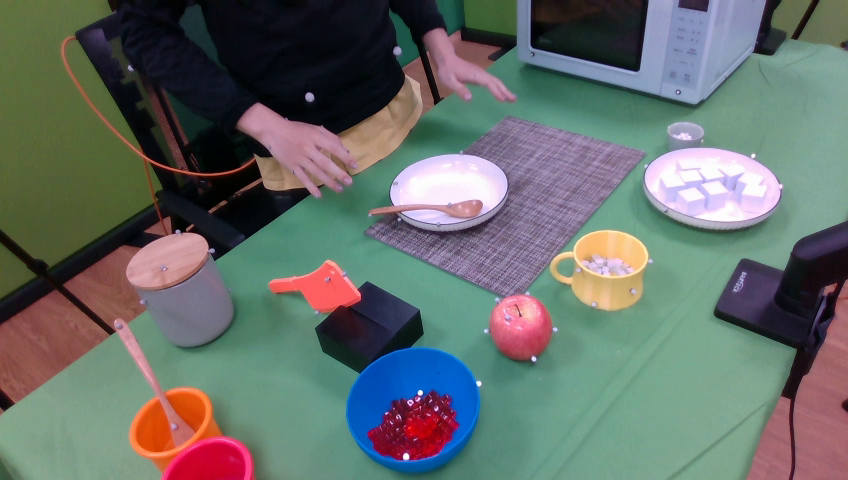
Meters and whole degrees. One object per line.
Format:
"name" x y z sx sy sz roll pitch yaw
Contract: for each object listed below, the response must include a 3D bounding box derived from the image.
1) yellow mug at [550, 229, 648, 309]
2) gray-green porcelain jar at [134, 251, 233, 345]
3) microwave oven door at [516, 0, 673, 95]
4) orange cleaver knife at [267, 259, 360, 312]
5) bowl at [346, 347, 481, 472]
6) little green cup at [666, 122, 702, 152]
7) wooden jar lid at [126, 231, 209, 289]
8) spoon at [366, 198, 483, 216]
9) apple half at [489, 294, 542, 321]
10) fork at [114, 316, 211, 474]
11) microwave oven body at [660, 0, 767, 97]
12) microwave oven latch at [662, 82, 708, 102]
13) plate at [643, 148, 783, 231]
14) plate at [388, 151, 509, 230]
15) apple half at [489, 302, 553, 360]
"yellow mug" 0.245 0.040 0.857 0.130 0.064 0.099 1 42 11
"gray-green porcelain jar" -0.334 0.076 0.849 0.106 0.127 0.105 -4 41 4
"microwave oven door" 0.344 -0.458 1.256 0.353 0.245 0.039 26 51 33
"orange cleaver knife" -0.161 0.070 0.859 0.210 0.077 0.012 -13 22 49
"bowl" -0.008 0.205 0.691 0.151 0.077 0.150 -4 40 4
"little green cup" 0.471 -0.184 1.102 0.061 0.039 0.061 -5 41 5
"wooden jar lid" -0.340 0.030 0.808 0.108 0.021 0.108 -5 39 5
"spoon" 0.002 -0.055 0.996 0.194 0.022 0.041 0 47 -11
"apple half" 0.120 0.098 0.800 0.081 0.081 0.032 -10 44 -4
"fork" -0.309 0.179 0.708 0.028 0.018 0.207 -30 89 -23
"microwave oven body" 0.473 -0.516 1.313 0.438 0.261 0.327 26 51 34
"microwave oven latch" 0.517 -0.298 1.202 0.078 0.029 0.030 27 52 34
"plate" 0.464 -0.080 0.986 0.207 0.039 0.206 -4 41 4
"plate" 0.044 -0.082 1.042 0.209 0.038 0.208 -4 40 4
"apple half" 0.127 0.123 0.772 0.081 0.075 0.053 -8 44 -6
